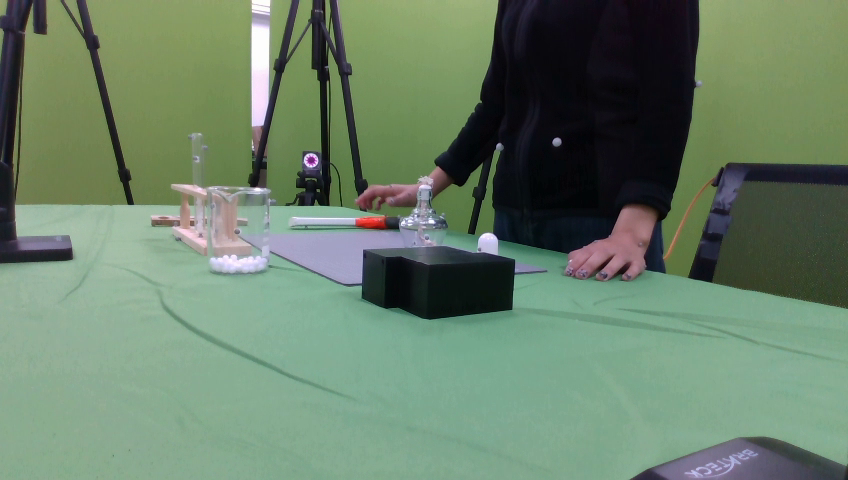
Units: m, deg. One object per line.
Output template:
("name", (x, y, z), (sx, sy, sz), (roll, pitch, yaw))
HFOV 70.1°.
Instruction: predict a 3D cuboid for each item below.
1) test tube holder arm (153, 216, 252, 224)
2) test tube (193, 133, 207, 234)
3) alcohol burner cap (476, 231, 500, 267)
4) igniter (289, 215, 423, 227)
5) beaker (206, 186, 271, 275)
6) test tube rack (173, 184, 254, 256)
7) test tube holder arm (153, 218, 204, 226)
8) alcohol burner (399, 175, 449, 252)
("test tube holder arm", (-0.422, -0.038, 1.159), (0.179, 0.015, 0.013), (-2, 43, -31))
("test tube", (-0.335, -0.084, 0.904), (0.017, 0.150, 0.017), (-1, 2, 0))
("alcohol burner cap", (0.088, 0.012, 0.830), (0.034, 0.048, 0.034), (3, 7, 0))
("igniter", (-0.133, -0.038, 1.232), (0.278, 0.025, 0.057), (-1, -2, -25))
("beaker", (-0.220, -0.012, 0.717), (0.074, 0.100, 0.084), (2, 8, -3))
("test tube rack", (-0.328, -0.036, 0.927), (0.067, 0.085, 0.241), (-2, 9, -32))
("test tube holder arm", (-0.459, -0.034, 1.132), (0.088, 0.015, 0.010), (-1, 42, -30))
("alcohol burner", (0.000, -0.041, 0.937), (0.078, 0.119, 0.078), (0, 7, 0))
